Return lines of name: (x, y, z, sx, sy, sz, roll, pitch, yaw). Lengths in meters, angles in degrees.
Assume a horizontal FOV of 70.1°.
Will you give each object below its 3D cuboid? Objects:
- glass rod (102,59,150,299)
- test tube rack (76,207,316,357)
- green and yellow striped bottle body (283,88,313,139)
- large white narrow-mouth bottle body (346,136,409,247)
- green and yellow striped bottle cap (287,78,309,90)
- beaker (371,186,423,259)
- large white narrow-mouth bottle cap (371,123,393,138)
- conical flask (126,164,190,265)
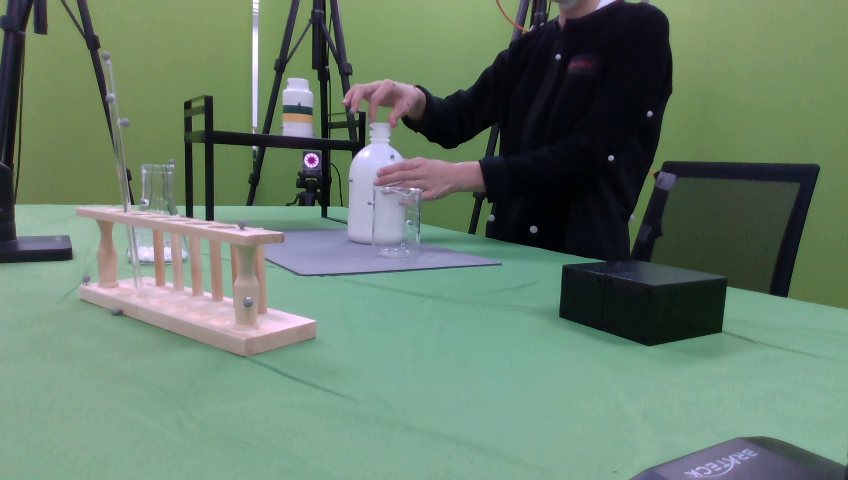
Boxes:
glass rod: (-0.243, -0.045, 0.496, 0.008, 0.199, 0.008, -4, 12, 1)
test tube rack: (-0.196, 0.023, 0.500, 0.241, 0.085, 0.067, 8, 9, 36)
green and yellow striped bottle body: (-0.266, -0.275, 1.275, 0.063, 0.119, 0.063, 3, 7, 0)
large white narrow-mouth bottle body: (-0.076, -0.091, 1.010, 0.102, 0.194, 0.102, 4, 8, 0)
green and yellow striped bottle cap: (-0.265, -0.326, 1.268, 0.045, 0.020, 0.045, 4, 6, 0)
beaker: (-0.038, -0.025, 0.868, 0.074, 0.100, 0.083, -1, 8, -22)
large white narrow-mouth bottle cap: (-0.069, -0.181, 0.997, 0.038, 0.024, 0.037, 4, 8, 0)
conical flask: (-0.332, -0.033, 0.756, 0.075, 0.122, 0.075, 2, 7, 0)
